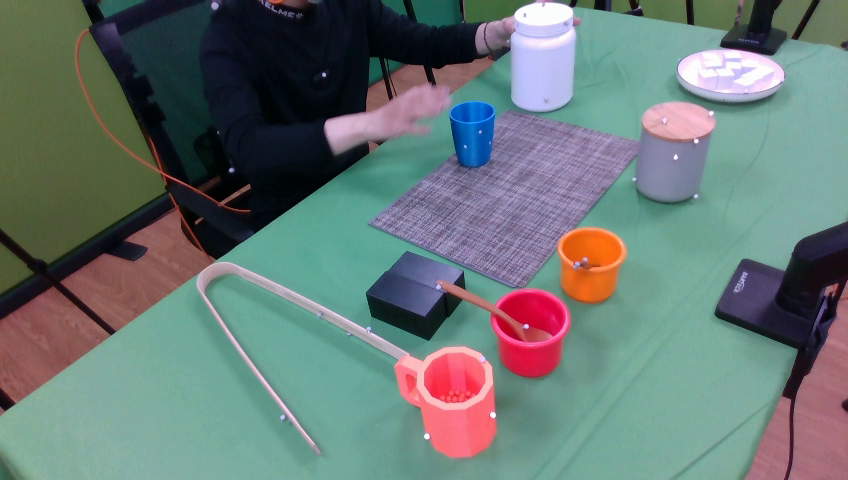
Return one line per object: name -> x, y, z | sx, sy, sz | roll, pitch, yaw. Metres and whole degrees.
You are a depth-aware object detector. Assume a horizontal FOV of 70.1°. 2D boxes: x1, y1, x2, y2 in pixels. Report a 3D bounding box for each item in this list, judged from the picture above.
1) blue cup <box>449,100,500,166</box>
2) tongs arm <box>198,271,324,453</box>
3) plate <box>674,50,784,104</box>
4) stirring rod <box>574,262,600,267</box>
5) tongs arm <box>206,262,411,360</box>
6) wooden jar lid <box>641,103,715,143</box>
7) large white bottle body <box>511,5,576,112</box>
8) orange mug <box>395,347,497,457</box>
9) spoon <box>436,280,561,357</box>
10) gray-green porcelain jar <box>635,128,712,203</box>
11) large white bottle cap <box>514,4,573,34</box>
blue cup -> 0.092, -0.194, 1.123 | 0.092, 0.100, 0.092 | -3, 40, 3
tongs arm -> -0.236, 0.154, 0.831 | 0.028, 0.028, 0.384 | -37, 48, -18
plate -> 0.631, -0.336, 1.262 | 0.207, 0.039, 0.206 | -4, 41, 4
stirring rod -> 0.222, 0.033, 0.816 | 0.014, 0.006, 0.177 | 7, 0, 22
tongs arm -> -0.179, 0.106, 0.870 | 0.382, 0.027, 0.051 | 23, 55, 32
wooden jar lid -> 0.398, -0.180, 0.952 | 0.108, 0.021, 0.108 | -4, 43, 4
large white bottle body -> 0.246, -0.376, 1.253 | 0.130, 0.185, 0.130 | -5, 41, 4
orange mug -> 0.024, 0.180, 0.703 | 0.125, 0.101, 0.083 | 21, 48, 23
spoon -> 0.096, 0.095, 0.757 | 0.195, 0.021, 0.041 | 34, 40, -20
gray-green porcelain jar -> 0.404, -0.133, 0.992 | 0.106, 0.127, 0.105 | -4, 40, 4
large white bottle cap -> 0.237, -0.440, 1.198 | 0.115, 0.018, 0.114 | -4, 41, 4
